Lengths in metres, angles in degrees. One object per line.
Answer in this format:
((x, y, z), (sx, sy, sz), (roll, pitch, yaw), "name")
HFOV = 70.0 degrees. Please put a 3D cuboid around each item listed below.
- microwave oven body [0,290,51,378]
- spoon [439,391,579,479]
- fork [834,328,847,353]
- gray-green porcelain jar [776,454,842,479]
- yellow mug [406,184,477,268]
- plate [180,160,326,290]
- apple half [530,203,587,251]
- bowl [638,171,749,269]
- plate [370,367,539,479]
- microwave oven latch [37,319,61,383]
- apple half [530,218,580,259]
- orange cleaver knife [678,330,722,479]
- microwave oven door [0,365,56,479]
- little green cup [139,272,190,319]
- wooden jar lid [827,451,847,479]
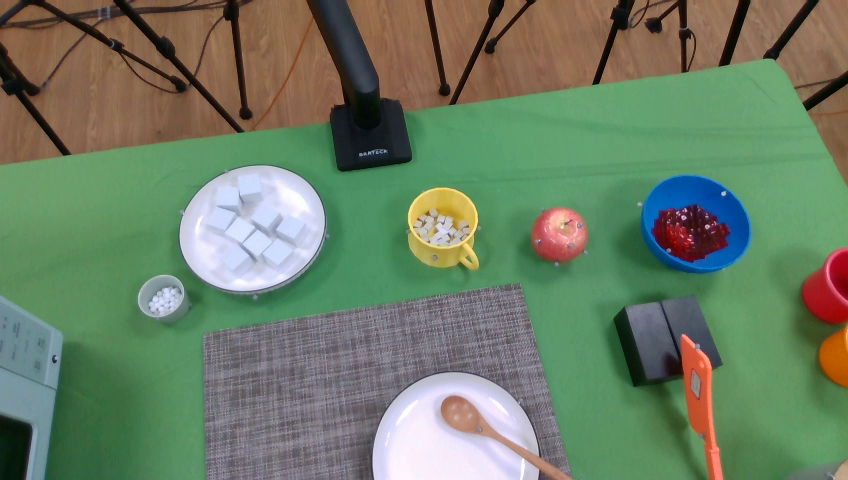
((-0.616, 0.275, 0.611), (0.326, 0.262, 0.438), (-5, 66, -5), "microwave oven body")
((0.103, 0.248, 0.752), (0.192, 0.022, 0.041), (27, 61, 23), "spoon")
((0.578, 0.169, 0.759), (0.028, 0.019, 0.206), (8, 21, 1), "fork")
((0.481, 0.308, 0.704), (0.106, 0.127, 0.105), (1, 64, -1), "gray-green porcelain jar")
((0.033, -0.011, 0.875), (0.100, 0.064, 0.130), (-36, 71, -17), "yellow mug")
((-0.246, -0.021, 0.887), (0.208, 0.039, 0.206), (1, 65, -1), "plate")
((0.200, -0.021, 0.880), (0.080, 0.075, 0.053), (29, 64, 15), "apple half")
((0.377, -0.017, 0.880), (0.151, 0.077, 0.150), (1, 65, -1), "bowl")
((0.037, 0.265, 0.757), (0.209, 0.038, 0.207), (1, 65, -1), "plate")
((-0.491, 0.144, 0.782), (0.030, 0.030, 0.078), (-5, 66, -4), "microwave oven latch")
((0.180, 0.008, 0.865), (0.081, 0.082, 0.032), (30, 65, 12), "apple half")
((0.346, 0.219, 0.762), (0.012, 0.077, 0.212), (-12, 98, -2), "orange cleaver knife")
((-0.466, 0.297, 0.599), (0.039, 0.245, 0.352), (-6, 65, -4), "microwave oven door")
((-0.355, 0.079, 0.835), (0.061, 0.039, 0.061), (1, 65, -2), "little green cup")
((0.482, 0.280, 0.649), (0.108, 0.021, 0.107), (1, 67, -2), "wooden jar lid")
